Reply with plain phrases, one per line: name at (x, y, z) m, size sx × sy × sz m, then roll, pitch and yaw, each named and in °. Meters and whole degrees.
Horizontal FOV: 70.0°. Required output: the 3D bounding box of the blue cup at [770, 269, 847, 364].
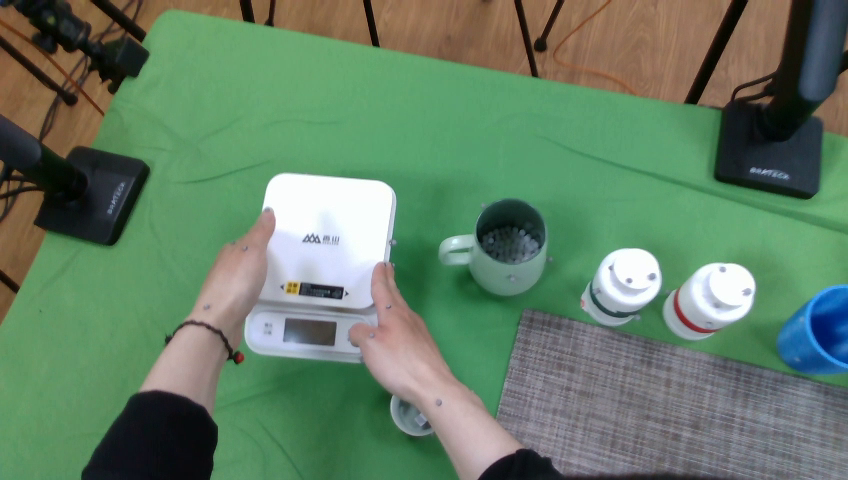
blue cup at (0.417, 0.092, 0.639) m, size 0.092 × 0.101 × 0.092 m, roll -2°, pitch 69°, yaw 6°

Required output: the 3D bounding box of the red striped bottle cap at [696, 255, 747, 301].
red striped bottle cap at (0.296, 0.037, 0.601) m, size 0.044 × 0.018 × 0.044 m, roll -1°, pitch 72°, yaw 5°

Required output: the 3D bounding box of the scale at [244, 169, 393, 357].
scale at (-0.116, 0.021, 0.662) m, size 0.148 × 0.032 × 0.200 m, roll 4°, pitch 76°, yaw 8°

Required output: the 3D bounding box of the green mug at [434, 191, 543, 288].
green mug at (0.074, 0.003, 0.692) m, size 0.125 × 0.105 × 0.092 m, roll -7°, pitch 70°, yaw 2°

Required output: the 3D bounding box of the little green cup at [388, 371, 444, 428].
little green cup at (-0.008, 0.178, 0.669) m, size 0.061 × 0.039 × 0.061 m, roll -1°, pitch 70°, yaw 3°

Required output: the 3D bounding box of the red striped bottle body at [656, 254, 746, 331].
red striped bottle body at (0.298, 0.056, 0.650) m, size 0.063 × 0.120 × 0.062 m, roll -1°, pitch 70°, yaw 3°

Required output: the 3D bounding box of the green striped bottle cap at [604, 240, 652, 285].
green striped bottle cap at (0.206, 0.022, 0.612) m, size 0.044 × 0.020 × 0.044 m, roll -1°, pitch 71°, yaw 3°

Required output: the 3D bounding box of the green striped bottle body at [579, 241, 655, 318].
green striped bottle body at (0.210, 0.042, 0.661) m, size 0.063 × 0.120 × 0.063 m, roll -1°, pitch 69°, yaw 4°
